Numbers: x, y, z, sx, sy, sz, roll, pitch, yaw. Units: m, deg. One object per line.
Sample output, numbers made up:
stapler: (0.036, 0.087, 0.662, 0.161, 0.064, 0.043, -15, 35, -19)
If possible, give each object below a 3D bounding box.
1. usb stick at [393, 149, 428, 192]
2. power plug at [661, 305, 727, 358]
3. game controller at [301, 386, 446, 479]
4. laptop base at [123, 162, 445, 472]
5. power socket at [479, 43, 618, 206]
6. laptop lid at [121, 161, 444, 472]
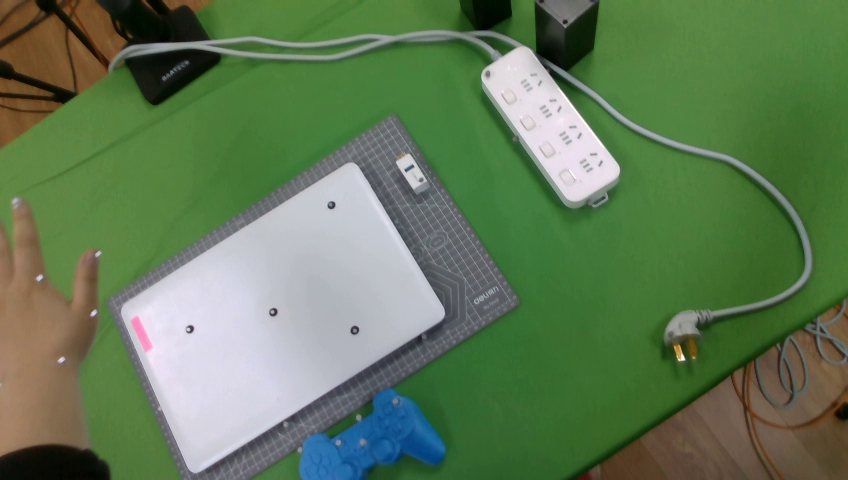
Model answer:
usb stick: (-0.020, -0.089, 0.744, 0.021, 0.027, 0.058, -34, 71, 4)
power plug: (0.286, 0.093, 0.633, 0.072, 0.035, 0.052, -19, 55, 19)
game controller: (-0.062, 0.231, 0.667, 0.155, 0.052, 0.096, -33, 68, 2)
laptop base: (-0.178, 0.087, 0.739, 0.354, 0.023, 0.234, -33, 76, 2)
power socket: (0.146, -0.140, 0.723, 0.072, 0.033, 0.225, -33, 72, 4)
laptop lid: (-0.179, 0.087, 0.727, 0.357, 0.013, 0.240, -31, 75, 2)
